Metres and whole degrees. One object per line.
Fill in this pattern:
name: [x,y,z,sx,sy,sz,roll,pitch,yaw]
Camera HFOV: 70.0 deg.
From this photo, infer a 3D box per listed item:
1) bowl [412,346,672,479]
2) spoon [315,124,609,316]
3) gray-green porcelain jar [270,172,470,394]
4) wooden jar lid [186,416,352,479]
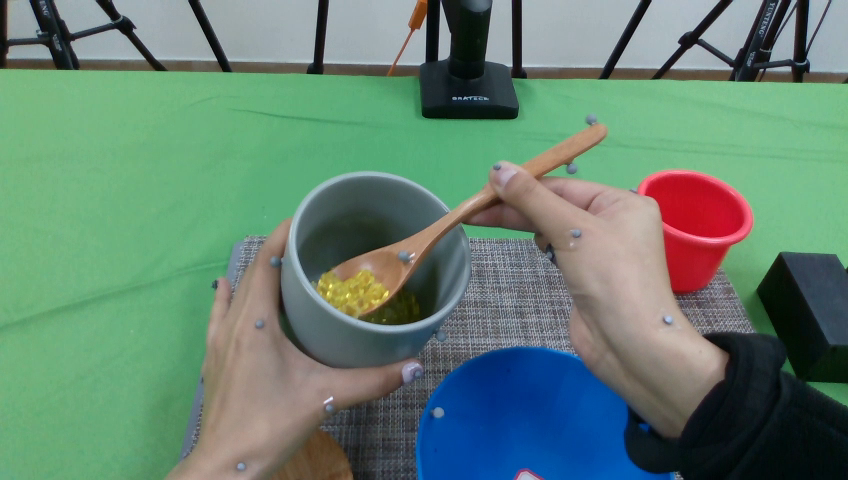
bowl: [0.066,0.150,0.378,0.151,0.077,0.150,2,45,-2]
spoon: [0.023,-0.014,0.346,0.194,0.022,0.041,-33,49,4]
gray-green porcelain jar: [-0.041,0.035,0.388,0.106,0.127,0.105,10,57,-15]
wooden jar lid: [-0.100,0.167,0.390,0.108,0.021,0.107,2,44,-1]
